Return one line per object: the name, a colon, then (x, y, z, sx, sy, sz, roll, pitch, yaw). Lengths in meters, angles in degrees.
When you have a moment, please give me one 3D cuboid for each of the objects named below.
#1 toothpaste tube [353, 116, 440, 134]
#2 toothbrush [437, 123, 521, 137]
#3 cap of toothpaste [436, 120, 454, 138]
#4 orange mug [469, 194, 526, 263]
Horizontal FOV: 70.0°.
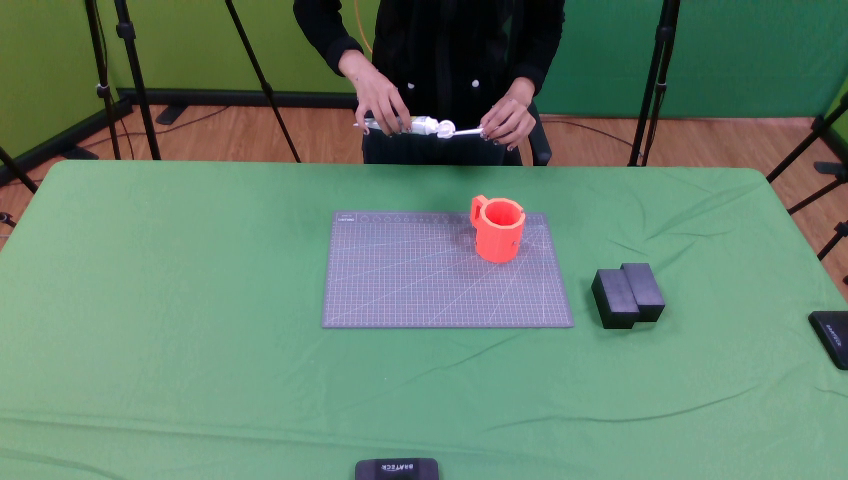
toothpaste tube: (-0.050, -0.226, 1.166, 0.165, 0.034, 0.055, 7, 22, 13)
toothbrush: (0.110, -0.217, 1.182, 0.182, 0.017, 0.014, -9, 38, -21)
cap of toothpaste: (0.040, -0.215, 1.167, 0.037, 0.011, 0.037, 0, 90, -6)
orange mug: (0.136, -0.030, 1.180, 0.083, 0.101, 0.125, -26, 58, -26)
